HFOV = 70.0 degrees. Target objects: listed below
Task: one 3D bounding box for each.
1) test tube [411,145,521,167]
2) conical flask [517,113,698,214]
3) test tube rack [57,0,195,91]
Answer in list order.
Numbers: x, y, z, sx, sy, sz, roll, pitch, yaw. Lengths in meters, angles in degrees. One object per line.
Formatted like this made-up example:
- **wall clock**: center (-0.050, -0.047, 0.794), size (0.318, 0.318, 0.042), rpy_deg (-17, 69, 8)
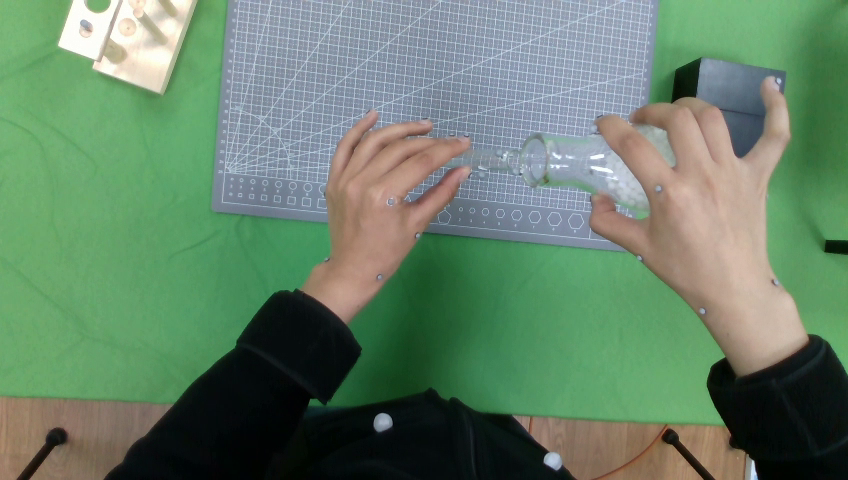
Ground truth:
- **test tube**: center (0.028, -0.069, 0.491), size (0.017, 0.149, 0.017), rpy_deg (-5, 100, -28)
- **conical flask**: center (0.128, -0.057, 0.433), size (0.122, 0.075, 0.075), rpy_deg (0, 92, -25)
- **test tube rack**: center (-0.242, -0.270, 0.552), size (0.067, 0.085, 0.242), rpy_deg (19, 90, -8)
